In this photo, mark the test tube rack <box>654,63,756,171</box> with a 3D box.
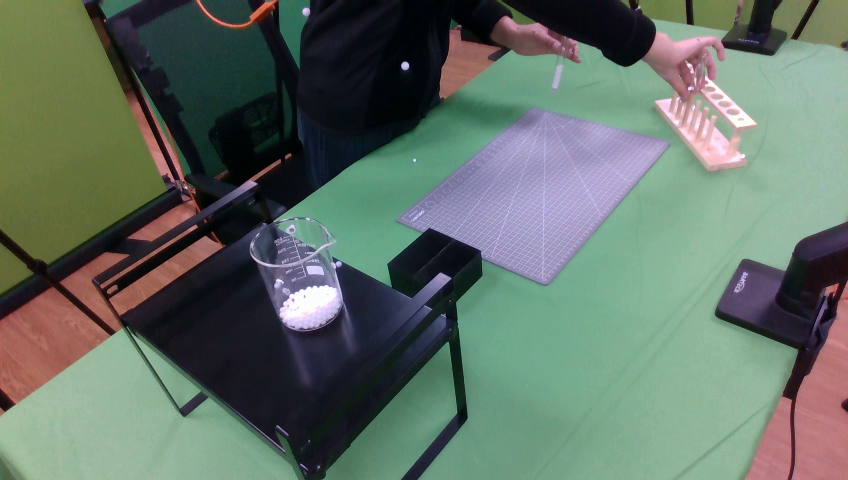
[{"bbox_3d":[0.511,-0.233,1.120,0.067,0.085,0.241,-9,41,0],"label":"test tube rack"}]

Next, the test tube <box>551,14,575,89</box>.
[{"bbox_3d":[0.262,-0.353,1.143,0.017,0.150,0.017,2,45,-1],"label":"test tube"}]

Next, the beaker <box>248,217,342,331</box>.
[{"bbox_3d":[-0.123,0.037,0.614,0.084,0.101,0.073,-7,41,0],"label":"beaker"}]

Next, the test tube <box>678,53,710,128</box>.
[{"bbox_3d":[0.489,-0.270,1.097,0.017,0.151,0.017,-1,45,1],"label":"test tube"}]
